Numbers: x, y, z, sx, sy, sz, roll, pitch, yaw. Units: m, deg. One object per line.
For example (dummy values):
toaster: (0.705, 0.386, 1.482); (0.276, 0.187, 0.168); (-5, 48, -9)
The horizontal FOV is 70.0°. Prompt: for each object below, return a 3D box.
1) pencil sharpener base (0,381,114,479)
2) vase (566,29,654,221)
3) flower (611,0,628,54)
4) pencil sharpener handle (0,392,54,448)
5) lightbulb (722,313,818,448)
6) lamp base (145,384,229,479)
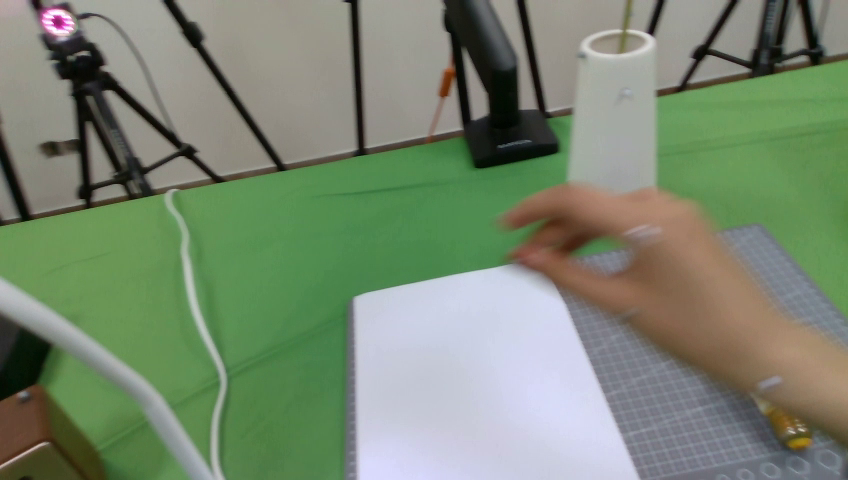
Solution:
pencil sharpener base: (-0.302, 0.177, 0.484); (0.061, 0.108, 0.076); (-29, 41, -21)
vase: (0.201, -0.119, 0.656); (0.098, 0.202, 0.097); (-8, 37, 6)
flower: (0.184, -0.168, 0.588); (0.043, 0.365, 0.038); (28, 65, 23)
pencil sharpener handle: (-0.333, 0.146, 0.511); (0.036, 0.068, 0.030); (-25, 39, -25)
lightbulb: (0.273, 0.107, 0.470); (0.059, 0.060, 0.106); (-8, 54, 5)
lamp base: (-0.119, 0.182, 0.371); (0.160, 0.182, 0.177); (-32, 38, -24)
